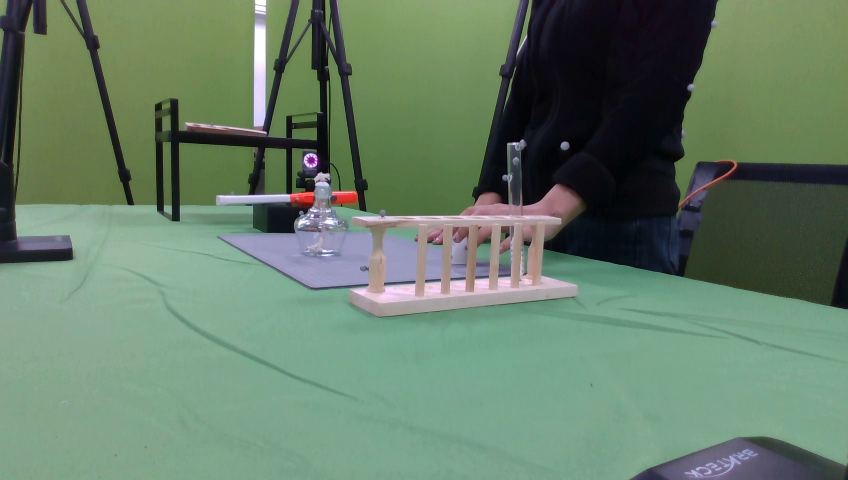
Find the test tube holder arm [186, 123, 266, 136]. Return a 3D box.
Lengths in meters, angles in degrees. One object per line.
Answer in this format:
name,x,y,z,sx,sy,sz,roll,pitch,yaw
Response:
test tube holder arm,-0.434,-0.242,1.333,0.179,0.015,0.013,-4,49,-43

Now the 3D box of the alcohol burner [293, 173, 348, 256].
alcohol burner,-0.146,-0.036,0.859,0.078,0.119,0.078,4,8,0

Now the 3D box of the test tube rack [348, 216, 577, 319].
test tube rack,0.048,0.021,0.619,0.244,0.085,0.066,-2,9,-31

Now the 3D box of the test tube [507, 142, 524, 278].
test tube,0.101,-0.032,0.666,0.017,0.150,0.017,-2,6,1

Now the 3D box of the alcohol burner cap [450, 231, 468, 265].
alcohol burner cap,0.046,0.011,0.838,0.034,0.048,0.034,0,5,0

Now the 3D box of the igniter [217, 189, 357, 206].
igniter,-0.251,-0.081,1.155,0.278,0.025,0.057,-5,8,-33

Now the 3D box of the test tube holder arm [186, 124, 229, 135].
test tube holder arm,-0.465,-0.236,1.300,0.088,0.015,0.010,-2,48,-42
